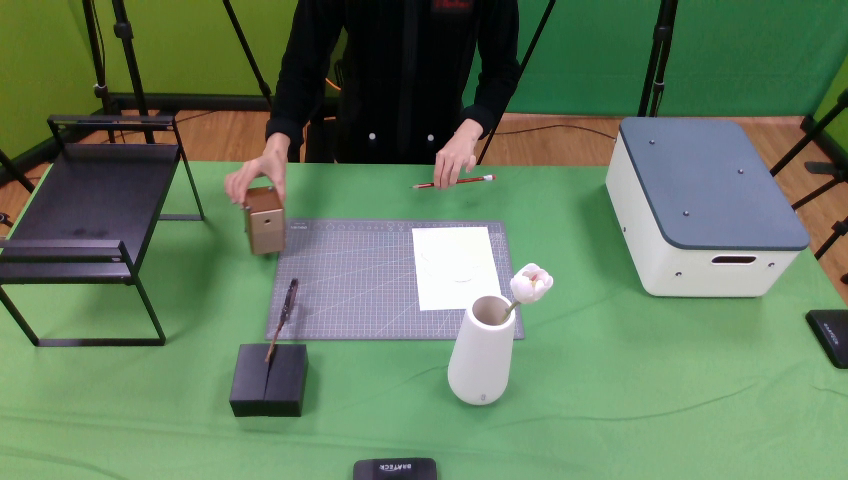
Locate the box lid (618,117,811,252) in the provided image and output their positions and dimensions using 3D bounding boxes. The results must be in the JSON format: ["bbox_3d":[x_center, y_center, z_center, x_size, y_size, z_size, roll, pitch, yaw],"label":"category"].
[{"bbox_3d":[0.534,-0.117,1.148,0.263,0.015,0.369,0,47,-3],"label":"box lid"}]

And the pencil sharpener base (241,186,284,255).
[{"bbox_3d":[-0.297,-0.037,1.114,0.061,0.107,0.076,-11,46,-21],"label":"pencil sharpener base"}]

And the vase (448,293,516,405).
[{"bbox_3d":[0.091,0.169,0.921,0.098,0.201,0.097,3,47,-3],"label":"vase"}]

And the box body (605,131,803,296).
[{"bbox_3d":[0.530,-0.067,1.204,0.254,0.161,0.361,1,46,-4],"label":"box body"}]

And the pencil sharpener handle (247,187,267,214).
[{"bbox_3d":[-0.312,-0.080,1.139,0.036,0.068,0.030,-19,48,-13],"label":"pencil sharpener handle"}]

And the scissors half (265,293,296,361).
[{"bbox_3d":[-0.239,0.143,1.005,0.013,0.040,0.174,17,28,-6],"label":"scissors half"}]

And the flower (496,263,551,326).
[{"bbox_3d":[0.102,0.120,0.853,0.044,0.363,0.038,-1,64,-10],"label":"flower"}]

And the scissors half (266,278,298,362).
[{"bbox_3d":[-0.234,0.127,0.993,0.013,0.040,0.174,12,46,-3],"label":"scissors half"}]

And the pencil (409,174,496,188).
[{"bbox_3d":[0.060,-0.120,1.246,0.194,0.012,0.012,-9,48,-19],"label":"pencil"}]
